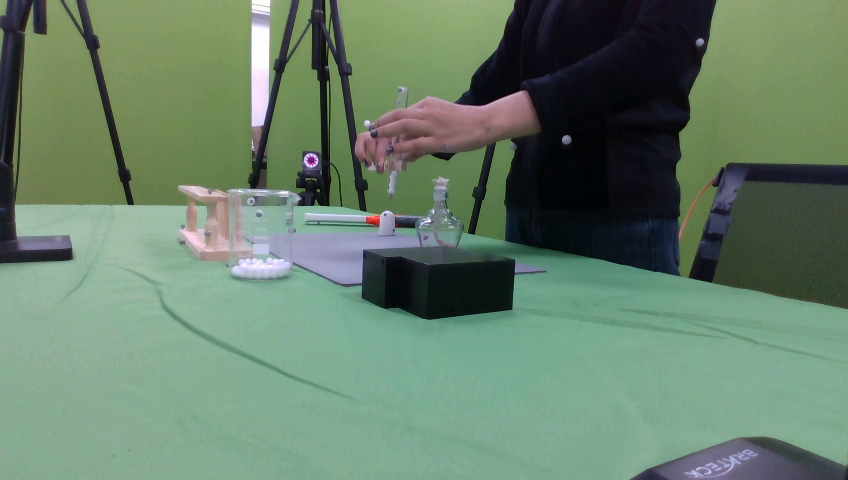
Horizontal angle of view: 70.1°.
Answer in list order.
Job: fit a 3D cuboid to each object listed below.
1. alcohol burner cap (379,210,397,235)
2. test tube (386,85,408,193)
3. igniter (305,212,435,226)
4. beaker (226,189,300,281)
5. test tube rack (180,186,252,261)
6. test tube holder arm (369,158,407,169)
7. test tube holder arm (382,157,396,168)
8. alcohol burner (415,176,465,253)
[{"bbox_3d":[-0.067,-0.033,1.129,0.034,0.048,0.034,1,7,0],"label":"alcohol burner cap"},{"bbox_3d":[-0.038,-0.141,0.849,0.017,0.150,0.017,7,9,-1],"label":"test tube"},{"bbox_3d":[-0.114,-0.046,1.296,0.277,0.025,0.057,1,-2,-11],"label":"igniter"},{"bbox_3d":[-0.184,-0.007,0.694,0.084,0.100,0.073,-1,8,-29],"label":"beaker"},{"bbox_3d":[-0.312,-0.031,0.893,0.067,0.085,0.241,-1,8,-27],"label":"test tube rack"},{"bbox_3d":[-0.058,-0.116,0.918,0.013,0.015,0.178,5,5,-19],"label":"test tube holder arm"},{"bbox_3d":[-0.051,-0.112,0.873,0.010,0.015,0.087,5,5,-10],"label":"test tube holder arm"},{"bbox_3d":[0.025,-0.040,0.935,0.078,0.119,0.078,1,6,0],"label":"alcohol burner"}]
